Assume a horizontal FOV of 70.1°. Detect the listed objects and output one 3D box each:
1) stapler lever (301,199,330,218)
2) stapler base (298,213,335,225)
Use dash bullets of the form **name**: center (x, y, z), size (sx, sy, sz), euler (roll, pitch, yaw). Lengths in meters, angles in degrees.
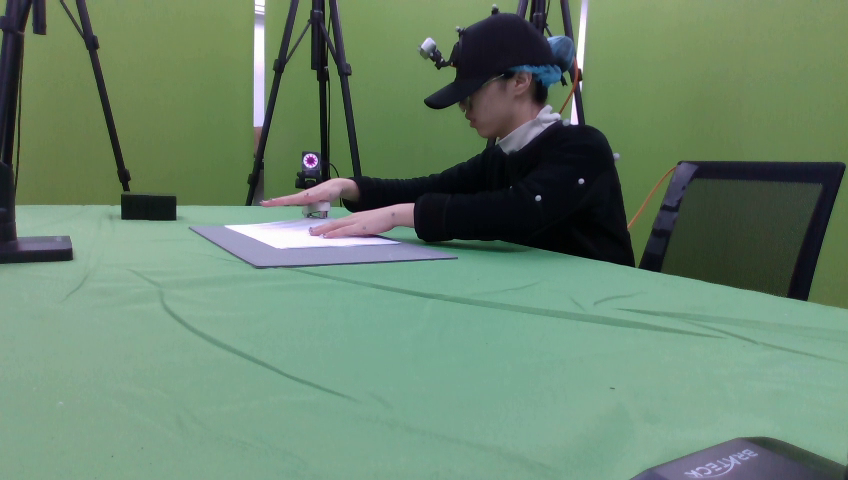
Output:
- **stapler lever**: center (-0.227, -0.068, 1.265), size (0.027, 0.040, 0.117), euler (0, 7, -29)
- **stapler base**: center (-0.226, -0.046, 1.266), size (0.041, 0.024, 0.130), euler (0, 4, -29)
